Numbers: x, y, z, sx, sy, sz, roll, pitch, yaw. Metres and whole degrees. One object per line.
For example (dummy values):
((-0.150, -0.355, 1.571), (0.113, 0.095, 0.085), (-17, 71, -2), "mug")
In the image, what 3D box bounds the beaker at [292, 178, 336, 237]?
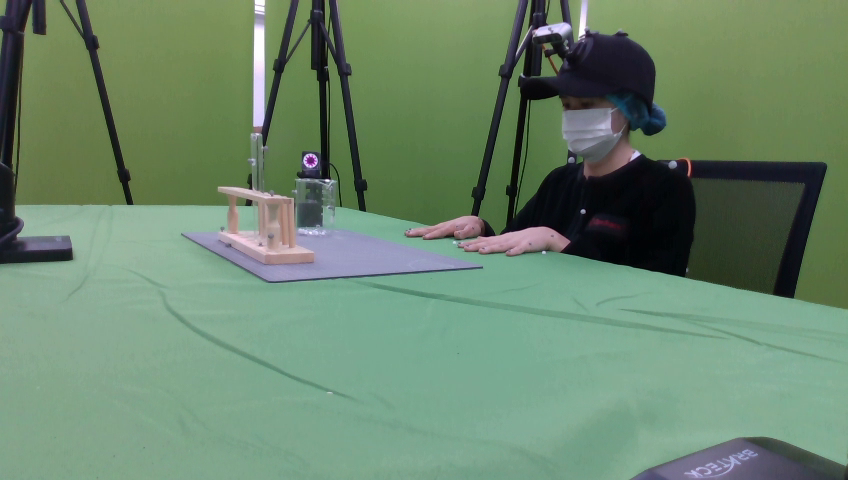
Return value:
((-0.195, -0.058, 1.080), (0.074, 0.100, 0.083), (-4, 11, -40), "beaker")

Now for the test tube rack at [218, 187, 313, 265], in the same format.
((-0.235, -0.027, 0.872), (0.067, 0.085, 0.241), (-2, 8, -32), "test tube rack")

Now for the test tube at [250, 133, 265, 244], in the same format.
((-0.227, -0.070, 0.825), (0.017, 0.150, 0.017), (-1, 3, 0), "test tube")
